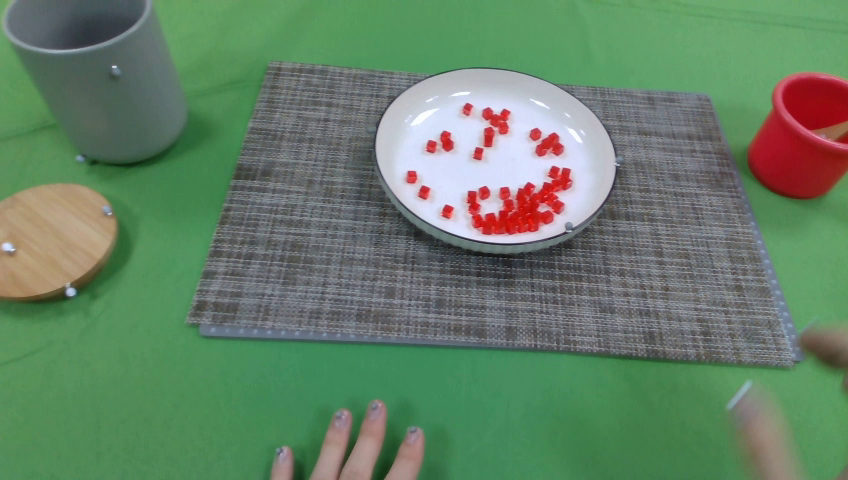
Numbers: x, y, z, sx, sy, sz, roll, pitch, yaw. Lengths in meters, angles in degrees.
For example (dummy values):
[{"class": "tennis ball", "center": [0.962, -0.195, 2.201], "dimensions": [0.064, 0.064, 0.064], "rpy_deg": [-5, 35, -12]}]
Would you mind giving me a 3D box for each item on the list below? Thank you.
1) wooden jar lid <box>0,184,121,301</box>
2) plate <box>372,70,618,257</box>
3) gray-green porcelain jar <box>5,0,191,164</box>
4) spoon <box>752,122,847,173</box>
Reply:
[{"class": "wooden jar lid", "center": [-0.290, 0.002, 0.468], "dimensions": [0.108, 0.021, 0.107], "rpy_deg": [3, 55, -4]}, {"class": "plate", "center": [0.059, -0.067, 0.527], "dimensions": [0.208, 0.039, 0.205], "rpy_deg": [2, 54, -3]}, {"class": "gray-green porcelain jar", "center": [-0.259, -0.135, 0.503], "dimensions": [0.106, 0.127, 0.105], "rpy_deg": [2, 54, -3]}, {"class": "spoon", "center": [0.384, -0.102, 0.514], "dimensions": [0.193, 0.022, 0.041], "rpy_deg": [-24, 45, 35]}]
